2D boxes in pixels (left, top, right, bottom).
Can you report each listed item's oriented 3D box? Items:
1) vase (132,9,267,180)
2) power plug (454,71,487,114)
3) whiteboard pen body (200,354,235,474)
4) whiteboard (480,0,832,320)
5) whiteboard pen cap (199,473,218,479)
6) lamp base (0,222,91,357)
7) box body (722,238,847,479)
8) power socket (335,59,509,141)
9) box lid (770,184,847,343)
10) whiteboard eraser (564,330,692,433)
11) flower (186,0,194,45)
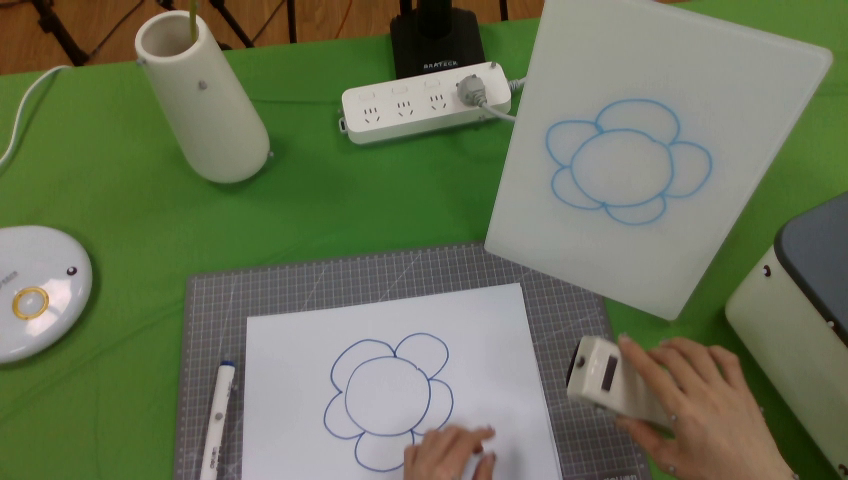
[{"bbox_3d":[-0.243,-0.151,0.665,0.098,0.201,0.097,-1,62,3],"label":"vase"},{"bbox_3d":[0.055,-0.172,0.736,0.035,0.053,0.072,-2,69,0],"label":"power plug"},{"bbox_3d":[-0.202,0.181,0.589,0.017,0.017,0.139,1,65,2],"label":"whiteboard pen body"},{"bbox_3d":[0.206,-0.103,0.603,0.216,0.308,0.143,22,45,13],"label":"whiteboard"},{"bbox_3d":[-0.203,0.234,0.565,0.018,0.018,0.033,0,65,2],"label":"whiteboard pen cap"},{"bbox_3d":[-0.461,0.011,0.598,0.178,0.182,0.160,23,65,16],"label":"lamp base"},{"bbox_3d":[0.482,0.119,0.528,0.254,0.161,0.360,-24,65,-10],"label":"box body"},{"bbox_3d":[-0.001,-0.177,0.765,0.227,0.033,0.071,-12,64,-5],"label":"power socket"},{"bbox_3d":[0.478,0.082,0.463,0.263,0.015,0.368,-24,65,-10],"label":"box lid"},{"bbox_3d":[0.176,0.124,0.527,0.113,0.042,0.055,25,69,-15],"label":"whiteboard eraser"},{"bbox_3d":[-0.224,-0.184,0.589,0.038,0.362,0.044,41,61,2],"label":"flower"}]
